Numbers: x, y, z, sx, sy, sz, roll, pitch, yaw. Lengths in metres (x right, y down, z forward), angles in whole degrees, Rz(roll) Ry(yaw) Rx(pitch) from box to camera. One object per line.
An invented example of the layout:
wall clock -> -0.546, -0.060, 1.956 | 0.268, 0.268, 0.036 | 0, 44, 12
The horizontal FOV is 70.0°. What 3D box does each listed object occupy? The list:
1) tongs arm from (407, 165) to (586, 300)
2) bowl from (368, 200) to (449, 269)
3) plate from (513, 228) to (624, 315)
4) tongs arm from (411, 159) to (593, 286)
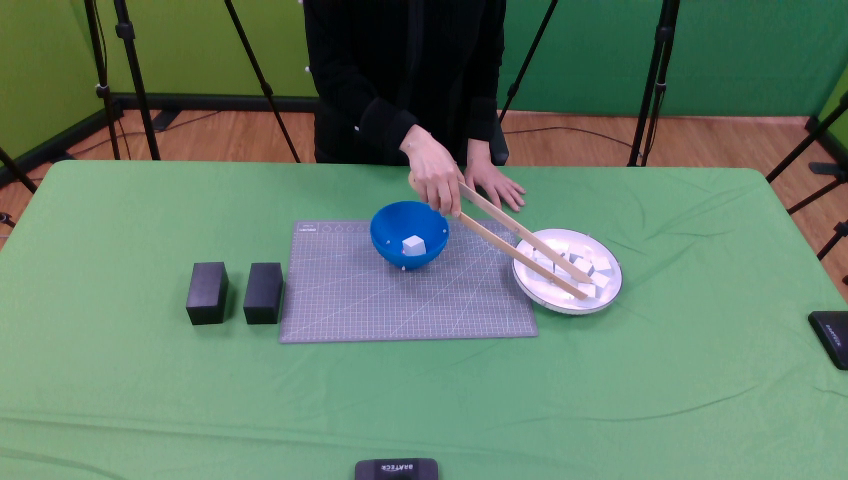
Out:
tongs arm -> 0.126, -0.009, 1.077 | 0.387, 0.028, 0.028 | 35, 60, -1
bowl -> -0.030, 0.002, 1.151 | 0.151, 0.077, 0.150 | 2, 46, -2
plate -> 0.268, 0.063, 1.146 | 0.208, 0.039, 0.206 | 3, 46, -3
tongs arm -> 0.138, -0.026, 1.091 | 0.384, 0.026, 0.050 | 38, 56, 2
